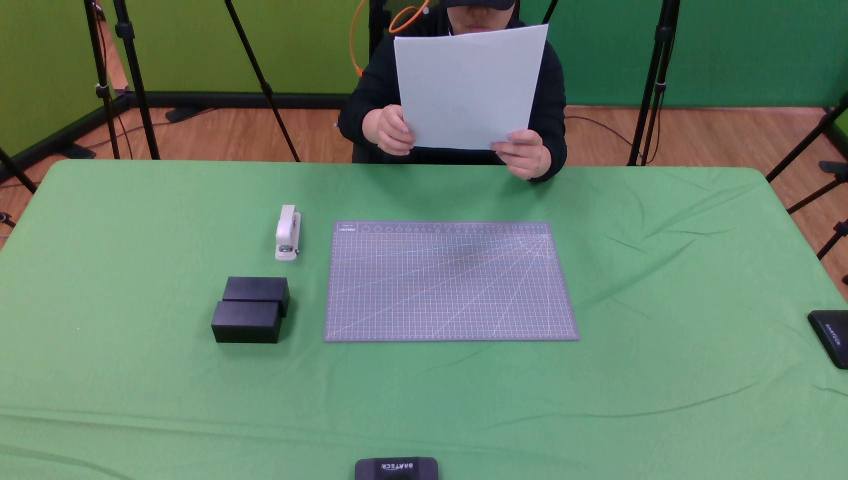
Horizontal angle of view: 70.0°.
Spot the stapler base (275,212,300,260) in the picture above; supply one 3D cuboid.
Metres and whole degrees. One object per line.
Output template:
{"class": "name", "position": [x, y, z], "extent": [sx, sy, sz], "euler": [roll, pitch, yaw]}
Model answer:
{"class": "stapler base", "position": [-0.268, -0.016, 1.190], "extent": [0.041, 0.024, 0.129], "euler": [0, 44, -7]}

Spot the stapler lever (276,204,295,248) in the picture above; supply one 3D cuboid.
{"class": "stapler lever", "position": [-0.268, -0.034, 1.174], "extent": [0.027, 0.040, 0.117], "euler": [0, 45, -7]}
